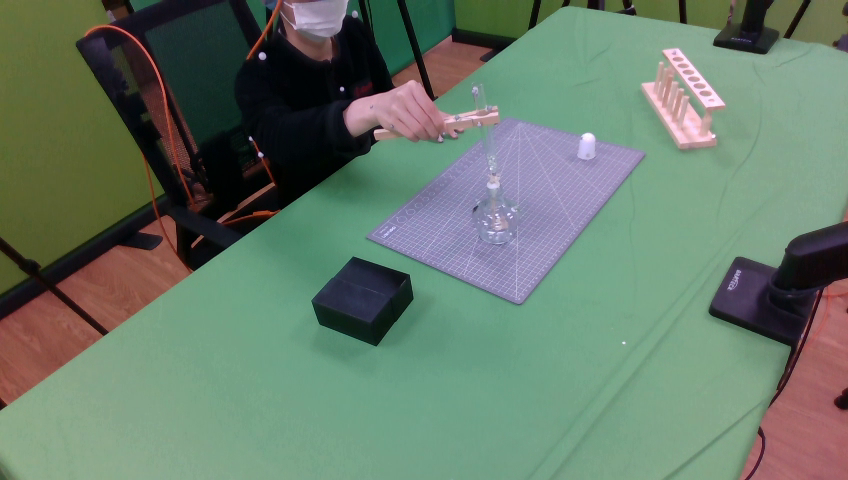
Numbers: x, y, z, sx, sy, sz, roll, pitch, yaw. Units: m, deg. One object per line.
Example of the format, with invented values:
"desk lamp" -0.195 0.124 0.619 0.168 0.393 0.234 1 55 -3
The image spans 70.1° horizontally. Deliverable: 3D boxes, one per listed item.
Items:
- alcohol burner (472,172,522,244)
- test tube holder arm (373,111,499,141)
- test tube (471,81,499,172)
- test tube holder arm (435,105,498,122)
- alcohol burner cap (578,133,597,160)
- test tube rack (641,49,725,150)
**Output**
"alcohol burner" 0.112 -0.053 0.942 0.078 0.119 0.077 -6 40 5
"test tube holder arm" 0.016 -0.158 0.841 0.178 0.015 0.013 -8 40 10
"test tube" 0.087 -0.155 0.847 0.017 0.151 0.017 -10 44 10
"test tube holder arm" 0.059 -0.169 0.839 0.088 0.015 0.010 -13 40 4
"alcohol burner cap" 0.301 -0.174 1.111 0.034 0.048 0.033 -5 41 4
"test tube rack" 0.495 -0.279 1.175 0.067 0.085 0.241 -5 41 3
